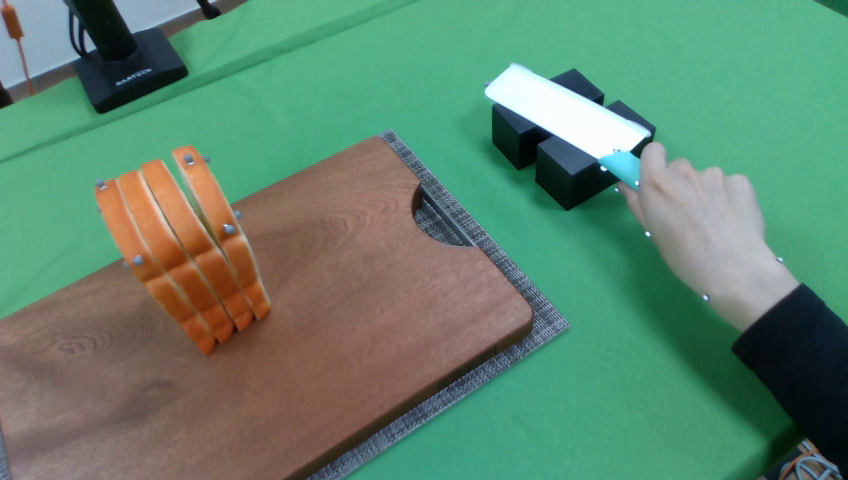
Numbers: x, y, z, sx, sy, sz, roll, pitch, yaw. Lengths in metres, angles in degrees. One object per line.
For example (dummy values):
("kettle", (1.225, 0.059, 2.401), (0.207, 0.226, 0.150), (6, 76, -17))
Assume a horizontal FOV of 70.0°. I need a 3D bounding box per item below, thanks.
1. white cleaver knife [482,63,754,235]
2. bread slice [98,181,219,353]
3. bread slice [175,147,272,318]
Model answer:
("white cleaver knife", (0.170, -0.097, 0.558), (0.066, 0.022, 0.284), (-41, 61, -18))
("bread slice", (-0.206, 0.015, 0.471), (0.018, 0.135, 0.106), (-31, 53, -15))
("bread slice", (-0.160, -0.009, 0.484), (0.019, 0.133, 0.104), (-28, 56, -20))
